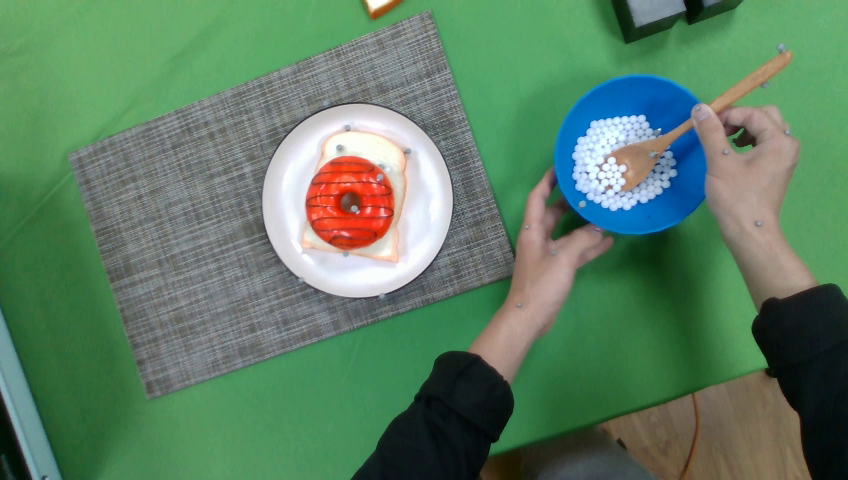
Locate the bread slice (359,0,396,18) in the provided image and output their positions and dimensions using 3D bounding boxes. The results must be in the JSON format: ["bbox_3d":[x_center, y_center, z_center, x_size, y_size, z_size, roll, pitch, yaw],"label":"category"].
[{"bbox_3d":[-0.054,-0.324,0.656,0.105,0.019,0.131,-34,89,5],"label":"bread slice"}]

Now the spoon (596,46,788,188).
[{"bbox_3d":[0.239,-0.108,0.556,0.194,0.022,0.041,-38,81,42],"label":"spoon"}]

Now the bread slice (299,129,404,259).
[{"bbox_3d":[-0.076,-0.051,0.652,0.107,0.018,0.134,6,92,6],"label":"bread slice"}]

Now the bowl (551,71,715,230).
[{"bbox_3d":[0.199,-0.083,0.604,0.151,0.077,0.151,0,91,6],"label":"bowl"}]

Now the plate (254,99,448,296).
[{"bbox_3d":[-0.076,-0.043,0.652,0.207,0.039,0.207,0,92,6],"label":"plate"}]

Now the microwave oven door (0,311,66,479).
[{"bbox_3d":[-0.495,0.151,0.586,0.039,0.244,0.355,-22,89,6],"label":"microwave oven door"}]

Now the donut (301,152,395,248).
[{"bbox_3d":[-0.078,-0.041,0.624,0.099,0.048,0.099,0,92,7],"label":"donut"}]

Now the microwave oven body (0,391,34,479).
[{"bbox_3d":[-0.645,0.164,0.607,0.326,0.260,0.441,-21,89,6],"label":"microwave oven body"}]
